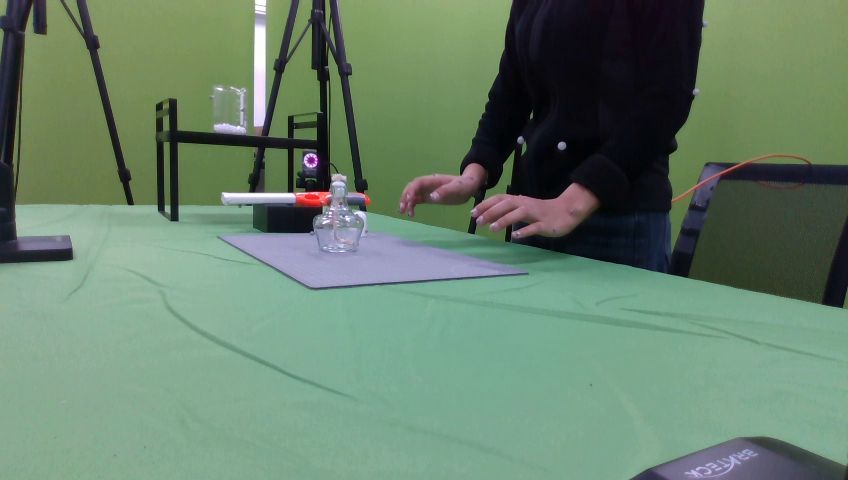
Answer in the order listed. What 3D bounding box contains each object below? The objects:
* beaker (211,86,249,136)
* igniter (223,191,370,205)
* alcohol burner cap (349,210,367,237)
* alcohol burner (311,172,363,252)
[{"bbox_3d":[-0.413,-0.274,1.297,0.074,0.100,0.083,-5,11,-44],"label":"beaker"},{"bbox_3d":[-0.239,-0.080,1.159,0.278,0.025,0.057,-2,20,-26],"label":"igniter"},{"bbox_3d":[-0.118,-0.030,1.095,0.034,0.048,0.034,2,7,0],"label":"alcohol burner cap"},{"bbox_3d":[-0.130,-0.042,0.906,0.078,0.119,0.078,2,5,0],"label":"alcohol burner"}]
